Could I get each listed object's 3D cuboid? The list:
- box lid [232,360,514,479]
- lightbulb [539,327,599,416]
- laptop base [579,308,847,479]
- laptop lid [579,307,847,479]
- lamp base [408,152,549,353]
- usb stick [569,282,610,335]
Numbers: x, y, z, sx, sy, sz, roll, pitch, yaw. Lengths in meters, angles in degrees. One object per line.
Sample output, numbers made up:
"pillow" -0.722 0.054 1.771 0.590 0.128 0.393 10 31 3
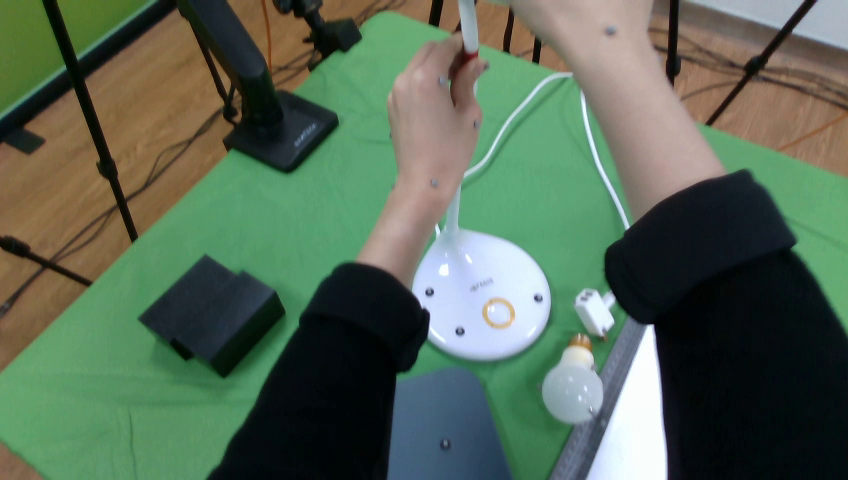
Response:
"box lid" -0.026 0.301 0.549 0.263 0.015 0.367 -14 59 -7
"lightbulb" 0.154 0.133 0.630 0.059 0.060 0.107 14 43 11
"laptop base" 0.347 0.230 0.578 0.352 0.023 0.234 24 64 16
"laptop lid" 0.345 0.225 0.567 0.355 0.013 0.241 25 64 17
"lamp base" 0.051 0.005 0.636 0.160 0.182 0.177 -32 59 -18
"usb stick" 0.184 0.077 0.664 0.027 0.059 0.021 -39 21 -26
